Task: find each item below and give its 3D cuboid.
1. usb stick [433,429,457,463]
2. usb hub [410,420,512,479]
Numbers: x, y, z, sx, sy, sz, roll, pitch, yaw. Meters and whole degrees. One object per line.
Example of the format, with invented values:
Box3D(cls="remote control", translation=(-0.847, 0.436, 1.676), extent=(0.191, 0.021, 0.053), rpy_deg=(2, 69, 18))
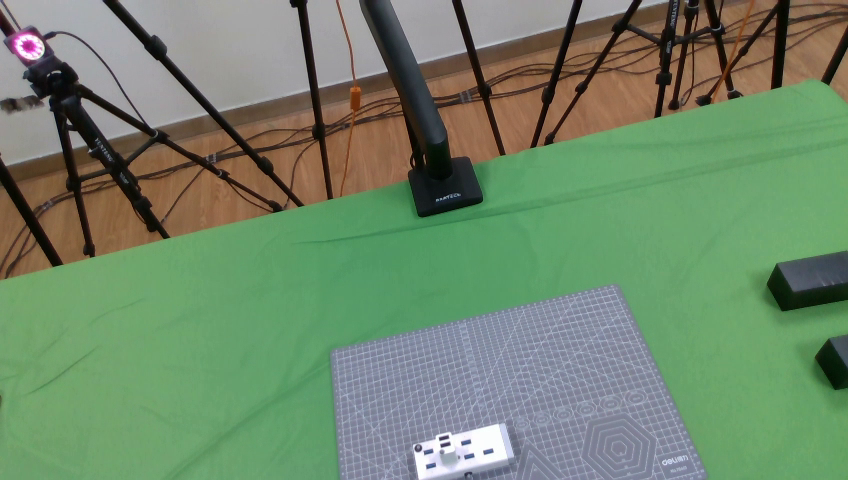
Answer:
Box3D(cls="usb stick", translation=(0.027, 0.261, 0.760), extent=(0.021, 0.060, 0.027), rpy_deg=(-16, 49, -2))
Box3D(cls="usb hub", translation=(0.047, 0.272, 0.785), extent=(0.125, 0.025, 0.049), rpy_deg=(-13, 50, -1))
